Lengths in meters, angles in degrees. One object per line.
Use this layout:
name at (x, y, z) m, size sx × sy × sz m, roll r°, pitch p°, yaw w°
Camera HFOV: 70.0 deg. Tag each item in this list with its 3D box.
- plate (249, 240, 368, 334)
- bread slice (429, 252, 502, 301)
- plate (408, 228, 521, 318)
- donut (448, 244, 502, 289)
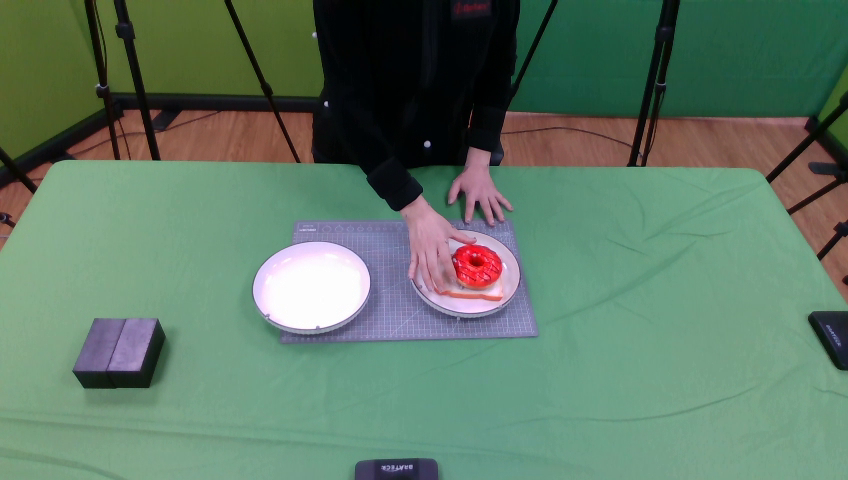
plate at (-0.204, 0.087, 1.084) m, size 0.208 × 0.039 × 0.206 m, roll 2°, pitch 46°, yaw -2°
bread slice at (0.077, 0.067, 1.126) m, size 0.134 × 0.018 × 0.106 m, roll 1°, pitch 46°, yaw -3°
plate at (0.074, 0.063, 1.128) m, size 0.209 × 0.038 × 0.208 m, roll 2°, pitch 46°, yaw -2°
donut at (0.093, 0.049, 1.104) m, size 0.099 × 0.048 × 0.098 m, roll 3°, pitch 45°, yaw -3°
